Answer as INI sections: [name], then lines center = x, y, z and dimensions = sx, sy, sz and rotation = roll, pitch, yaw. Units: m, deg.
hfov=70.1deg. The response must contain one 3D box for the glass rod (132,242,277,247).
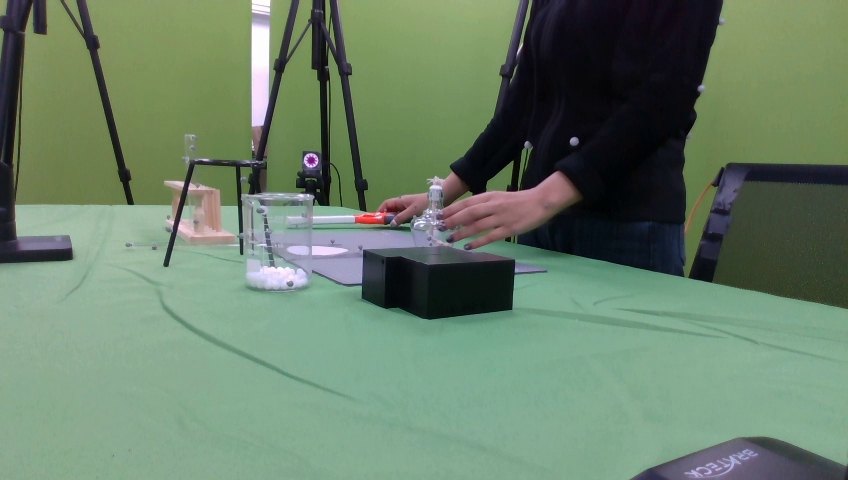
[glass rod]
center = -0.316, 0.007, 0.885
dimensions = 0.201, 0.008, 0.008
rotation = 0, 7, -27

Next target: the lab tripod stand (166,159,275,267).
[lab tripod stand]
center = -0.249, -0.036, 0.764
dimensions = 0.148, 0.131, 0.148
rotation = 2, 9, 0

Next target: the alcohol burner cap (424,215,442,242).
[alcohol burner cap]
center = 0.017, -0.022, 1.098
dimensions = 0.034, 0.048, 0.034
rotation = 2, 8, 0

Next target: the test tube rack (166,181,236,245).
[test tube rack]
center = -0.383, -0.051, 1.024
dimensions = 0.067, 0.085, 0.241
rotation = -2, 9, -31

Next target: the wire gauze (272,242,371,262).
[wire gauze]
center = -0.155, 0.013, 0.877
dimensions = 0.122, 0.011, 0.124
rotation = -3, 10, -29

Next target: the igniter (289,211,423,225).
[igniter]
center = -0.135, -0.045, 1.238
dimensions = 0.278, 0.025, 0.057
rotation = -3, 8, -24

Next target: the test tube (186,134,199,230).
[test tube]
center = -0.360, -0.089, 0.946
dimensions = 0.017, 0.150, 0.017
rotation = 0, 10, 0

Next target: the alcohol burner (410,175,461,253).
[alcohol burner]
center = 0.018, -0.040, 0.931
dimensions = 0.078, 0.119, 0.078
rotation = 0, 7, 0

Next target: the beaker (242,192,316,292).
[beaker]
center = -0.157, 0.000, 0.642
dimensions = 0.084, 0.100, 0.074
rotation = 4, 7, 19
